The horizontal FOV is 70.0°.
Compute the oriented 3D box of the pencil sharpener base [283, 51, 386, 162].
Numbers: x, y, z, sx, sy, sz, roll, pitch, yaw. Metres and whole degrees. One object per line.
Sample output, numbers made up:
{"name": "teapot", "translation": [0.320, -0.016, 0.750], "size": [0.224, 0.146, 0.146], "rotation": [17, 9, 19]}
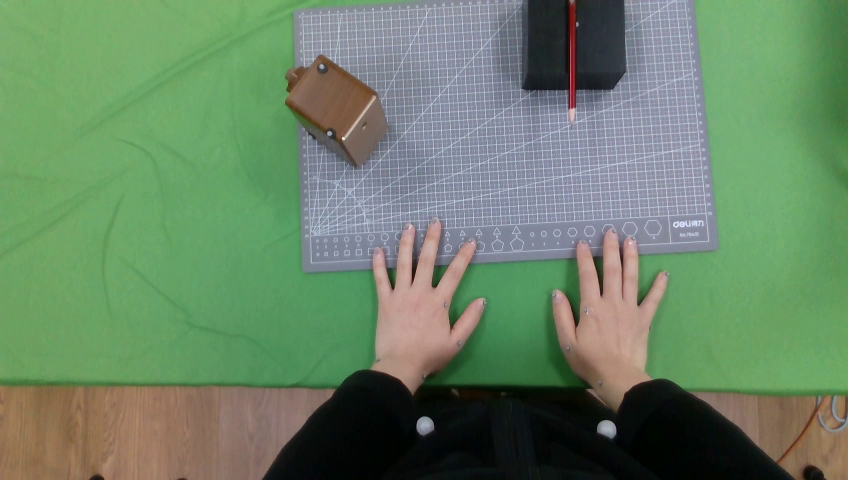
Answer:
{"name": "pencil sharpener base", "translation": [-0.090, -0.135, 0.622], "size": [0.076, 0.107, 0.061], "rotation": [36, 87, 5]}

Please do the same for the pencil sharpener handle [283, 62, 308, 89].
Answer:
{"name": "pencil sharpener handle", "translation": [-0.133, -0.164, 0.614], "size": [0.030, 0.068, 0.036], "rotation": [36, 79, 6]}

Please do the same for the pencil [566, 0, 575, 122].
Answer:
{"name": "pencil", "translation": [0.151, -0.215, 0.623], "size": [0.012, 0.012, 0.193], "rotation": [0, 85, 2]}
